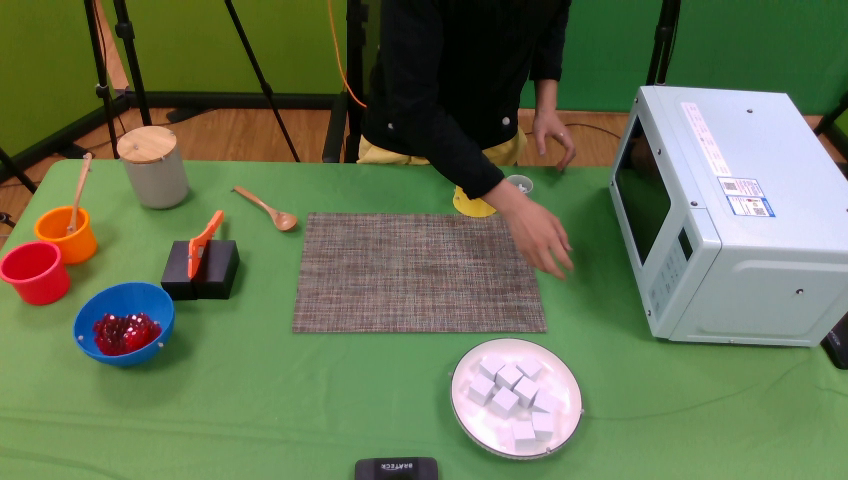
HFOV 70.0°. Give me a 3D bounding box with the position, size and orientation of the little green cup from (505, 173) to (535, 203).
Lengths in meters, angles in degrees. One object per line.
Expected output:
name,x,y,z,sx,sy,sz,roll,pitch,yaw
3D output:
little green cup,0.203,-0.111,1.302,0.061,0.039,0.061,5,45,-5

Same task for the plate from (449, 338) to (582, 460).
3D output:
plate,0.141,0.251,0.956,0.208,0.039,0.206,2,46,-2

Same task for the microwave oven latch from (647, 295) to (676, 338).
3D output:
microwave oven latch,0.413,0.133,1.060,0.030,0.029,0.078,4,46,1

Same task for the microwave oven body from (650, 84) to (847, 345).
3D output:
microwave oven body,0.568,-0.054,1.116,0.326,0.261,0.439,2,46,-1

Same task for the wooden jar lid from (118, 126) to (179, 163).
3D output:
wooden jar lid,-0.528,-0.181,1.167,0.108,0.021,0.107,3,47,-4

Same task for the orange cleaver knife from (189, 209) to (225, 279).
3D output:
orange cleaver knife,-0.400,0.002,1.122,0.012,0.077,0.210,4,23,-4

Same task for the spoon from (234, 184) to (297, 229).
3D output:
spoon,-0.327,-0.073,1.240,0.193,0.022,0.041,34,71,25

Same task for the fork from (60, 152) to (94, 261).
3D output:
fork,-0.638,-0.063,1.120,0.028,0.018,0.207,12,90,6

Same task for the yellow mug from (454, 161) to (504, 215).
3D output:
yellow mug,0.117,-0.118,1.283,0.100,0.064,0.130,8,43,6

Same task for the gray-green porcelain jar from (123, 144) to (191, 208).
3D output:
gray-green porcelain jar,-0.531,-0.137,1.214,0.106,0.127,0.105,2,47,-2

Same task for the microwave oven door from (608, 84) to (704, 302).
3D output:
microwave oven door,0.424,-0.096,1.138,0.039,0.245,0.353,3,46,-1

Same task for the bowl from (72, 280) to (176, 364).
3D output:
bowl,-0.473,0.146,0.982,0.151,0.077,0.150,2,46,-2
